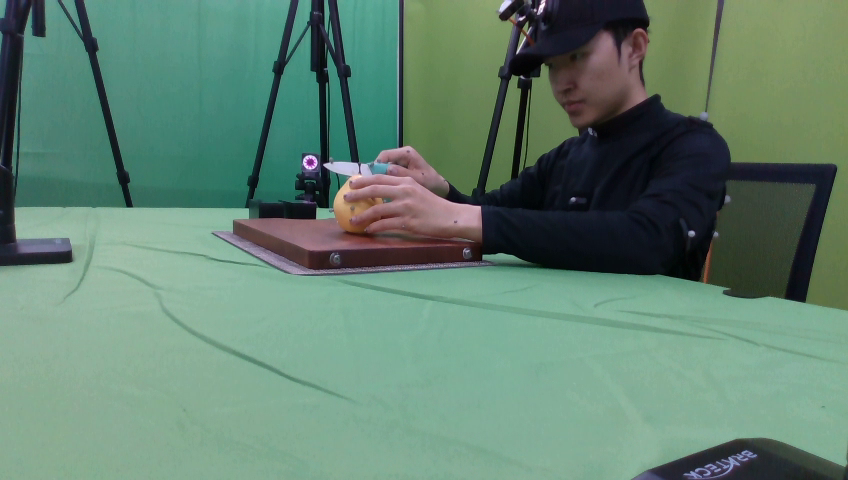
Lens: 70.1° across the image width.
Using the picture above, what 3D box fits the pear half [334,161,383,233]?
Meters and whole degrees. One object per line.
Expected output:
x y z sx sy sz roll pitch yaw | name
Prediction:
-0.094 -0.064 0.924 0.077 0.110 0.055 -12 18 -43 | pear half

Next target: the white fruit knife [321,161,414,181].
-0.085 -0.112 0.964 0.016 0.027 0.208 -4 -1 38 | white fruit knife

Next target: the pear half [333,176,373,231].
-0.118 -0.058 0.953 0.071 0.088 0.031 -13 16 -42 | pear half
